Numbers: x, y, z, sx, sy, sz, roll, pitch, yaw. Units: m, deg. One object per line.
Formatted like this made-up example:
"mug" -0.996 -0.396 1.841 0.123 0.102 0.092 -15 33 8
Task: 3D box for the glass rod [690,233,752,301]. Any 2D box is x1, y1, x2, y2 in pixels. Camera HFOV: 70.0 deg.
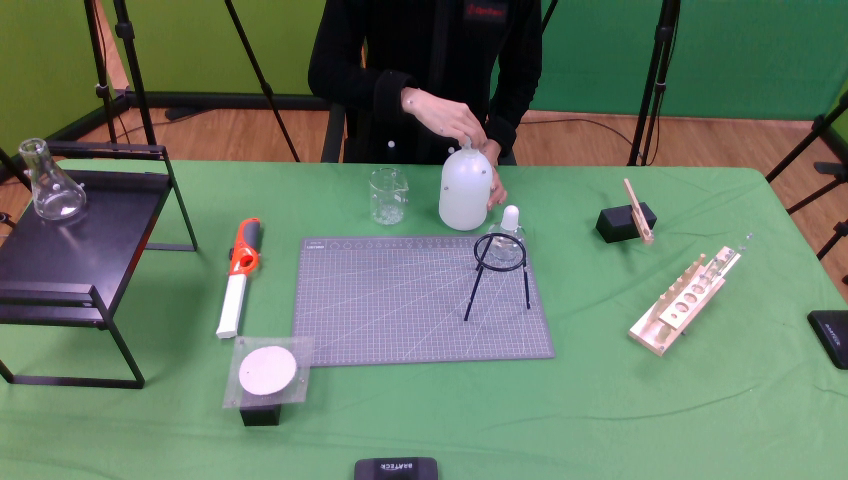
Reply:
"glass rod" 0.507 0.053 1.041 0.008 0.200 0.008 5 51 -6

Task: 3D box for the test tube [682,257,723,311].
"test tube" 0.474 0.080 1.037 0.017 0.151 0.017 1 51 -1

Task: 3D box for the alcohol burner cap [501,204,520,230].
"alcohol burner cap" 0.164 -0.046 1.133 0.034 0.048 0.033 2 40 -2

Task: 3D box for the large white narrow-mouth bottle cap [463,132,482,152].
"large white narrow-mouth bottle cap" 0.091 -0.183 1.126 0.038 0.024 0.037 2 46 -2

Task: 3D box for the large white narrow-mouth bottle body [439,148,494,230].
"large white narrow-mouth bottle body" 0.085 -0.118 1.196 0.102 0.195 0.101 2 46 -2

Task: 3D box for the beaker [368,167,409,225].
"beaker" -0.070 -0.085 1.220 0.084 0.101 0.074 21 49 15

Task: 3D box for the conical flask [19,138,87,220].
"conical flask" -0.576 -0.097 0.930 0.075 0.122 0.075 2 46 -2

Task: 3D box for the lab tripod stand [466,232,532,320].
"lab tripod stand" 0.125 0.059 1.065 0.148 0.132 0.147 1 45 0

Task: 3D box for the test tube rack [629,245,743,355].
"test tube rack" 0.474 0.095 1.091 0.242 0.085 0.066 -34 56 -31

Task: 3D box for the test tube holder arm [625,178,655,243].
"test tube holder arm" 0.433 -0.062 1.220 0.013 0.015 0.177 1 47 -3

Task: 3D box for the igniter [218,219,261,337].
"igniter" -0.336 0.060 1.111 0.057 0.025 0.274 -8 46 4

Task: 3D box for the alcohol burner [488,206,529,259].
"alcohol burner" 0.163 -0.020 1.158 0.078 0.120 0.077 0 47 0

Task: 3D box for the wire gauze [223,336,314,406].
"wire gauze" -0.237 0.197 0.931 0.121 0.011 0.124 1 45 -4

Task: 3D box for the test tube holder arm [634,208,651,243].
"test tube holder arm" 0.428 -0.030 1.189 0.010 0.015 0.087 1 47 -2
